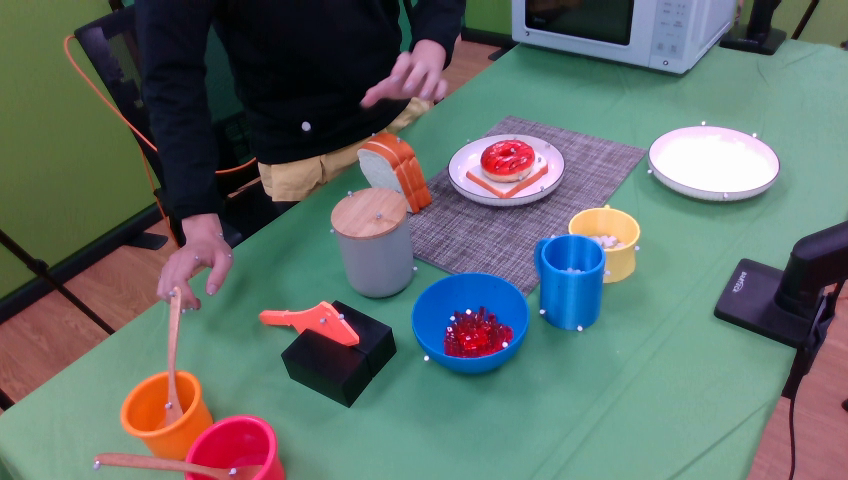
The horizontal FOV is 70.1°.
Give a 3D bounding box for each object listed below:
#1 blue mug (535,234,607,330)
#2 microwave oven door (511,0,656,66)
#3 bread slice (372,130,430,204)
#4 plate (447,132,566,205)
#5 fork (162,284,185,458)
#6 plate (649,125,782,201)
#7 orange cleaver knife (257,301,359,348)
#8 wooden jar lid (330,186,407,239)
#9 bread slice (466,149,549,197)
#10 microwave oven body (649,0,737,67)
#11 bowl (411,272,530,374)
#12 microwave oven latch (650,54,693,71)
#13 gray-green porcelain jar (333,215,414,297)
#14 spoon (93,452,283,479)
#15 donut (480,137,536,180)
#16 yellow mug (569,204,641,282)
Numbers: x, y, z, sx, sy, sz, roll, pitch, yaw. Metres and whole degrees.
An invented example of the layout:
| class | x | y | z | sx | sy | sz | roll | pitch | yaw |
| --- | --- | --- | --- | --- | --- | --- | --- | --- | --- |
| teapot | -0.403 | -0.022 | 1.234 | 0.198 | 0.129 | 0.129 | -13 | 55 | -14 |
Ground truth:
| class | x | y | z | sx | sy | sz | roll | pitch | yaw |
| --- | --- | --- | --- | --- | --- | --- | --- | --- | --- |
| blue mug | 0.191 | 0.048 | 0.824 | 0.082 | 0.106 | 0.115 | -26 | 44 | -20 |
| microwave oven door | 0.350 | -0.539 | 1.348 | 0.353 | 0.245 | 0.039 | 24 | 50 | 31 |
| bread slice | -0.042 | -0.127 | 1.039 | 0.106 | 0.135 | 0.018 | 30 | 61 | 33 |
| plate | 0.146 | -0.124 | 1.076 | 0.209 | 0.038 | 0.208 | -4 | 41 | 4 |
| fork | -0.303 | 0.157 | 0.733 | 0.028 | 0.019 | 0.207 | -3 | 84 | 15 |
| plate | 0.493 | -0.127 | 1.036 | 0.207 | 0.039 | 0.206 | -4 | 41 | 4 |
| orange cleaver knife | -0.160 | 0.115 | 0.813 | 0.210 | 0.077 | 0.012 | -9 | 29 | 48 |
| wooden jar lid | -0.077 | -0.035 | 0.846 | 0.108 | 0.021 | 0.108 | -5 | 41 | 5 |
| bread slice | 0.156 | -0.129 | 1.084 | 0.132 | 0.019 | 0.104 | -33 | 48 | -23 |
| microwave oven body | 0.475 | -0.602 | 1.411 | 0.438 | 0.261 | 0.327 | 23 | 50 | 32 |
| bowl | 0.062 | 0.120 | 0.780 | 0.151 | 0.077 | 0.150 | -4 | 40 | 4 |
| microwave oven latch | 0.531 | -0.386 | 1.301 | 0.078 | 0.029 | 0.030 | 26 | 51 | 33 |
| gray-green porcelain jar | -0.071 | 0.012 | 0.887 | 0.106 | 0.127 | 0.105 | -4 | 41 | 4 |
| spoon | -0.240 | 0.239 | 0.632 | 0.195 | 0.021 | 0.041 | 26 | 34 | -32 |
| donut | 0.146 | -0.144 | 1.056 | 0.099 | 0.048 | 0.098 | -6 | 42 | 6 |
| yellow mug | 0.268 | -0.005 | 0.904 | 0.099 | 0.064 | 0.130 | 7 | 41 | 15 |
